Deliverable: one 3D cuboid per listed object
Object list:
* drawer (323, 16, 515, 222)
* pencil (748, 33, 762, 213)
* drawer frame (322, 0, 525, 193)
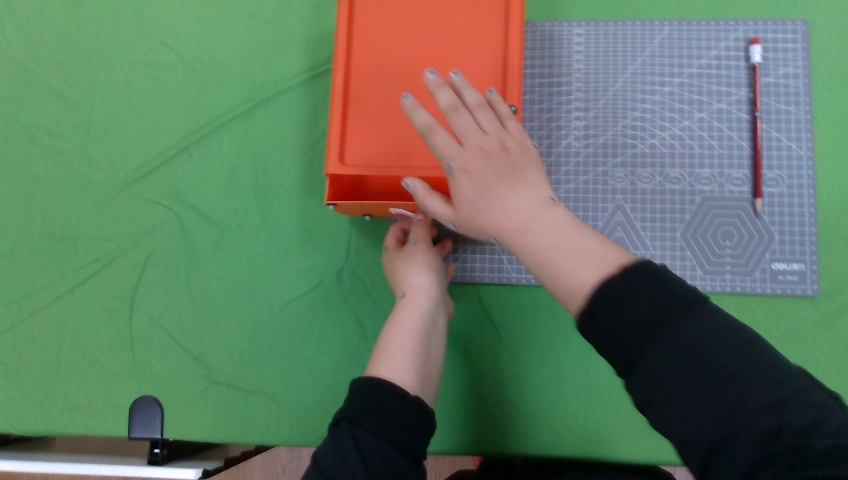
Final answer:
[{"bbox_3d":[0.002,-0.127,0.647,0.194,0.073,0.211,2,81,7],"label":"drawer"},{"bbox_3d":[0.351,-0.125,0.645,0.012,0.012,0.193,3,86,7],"label":"pencil"},{"bbox_3d":[0.003,-0.159,0.649,0.201,0.083,0.213,1,82,7],"label":"drawer frame"}]
